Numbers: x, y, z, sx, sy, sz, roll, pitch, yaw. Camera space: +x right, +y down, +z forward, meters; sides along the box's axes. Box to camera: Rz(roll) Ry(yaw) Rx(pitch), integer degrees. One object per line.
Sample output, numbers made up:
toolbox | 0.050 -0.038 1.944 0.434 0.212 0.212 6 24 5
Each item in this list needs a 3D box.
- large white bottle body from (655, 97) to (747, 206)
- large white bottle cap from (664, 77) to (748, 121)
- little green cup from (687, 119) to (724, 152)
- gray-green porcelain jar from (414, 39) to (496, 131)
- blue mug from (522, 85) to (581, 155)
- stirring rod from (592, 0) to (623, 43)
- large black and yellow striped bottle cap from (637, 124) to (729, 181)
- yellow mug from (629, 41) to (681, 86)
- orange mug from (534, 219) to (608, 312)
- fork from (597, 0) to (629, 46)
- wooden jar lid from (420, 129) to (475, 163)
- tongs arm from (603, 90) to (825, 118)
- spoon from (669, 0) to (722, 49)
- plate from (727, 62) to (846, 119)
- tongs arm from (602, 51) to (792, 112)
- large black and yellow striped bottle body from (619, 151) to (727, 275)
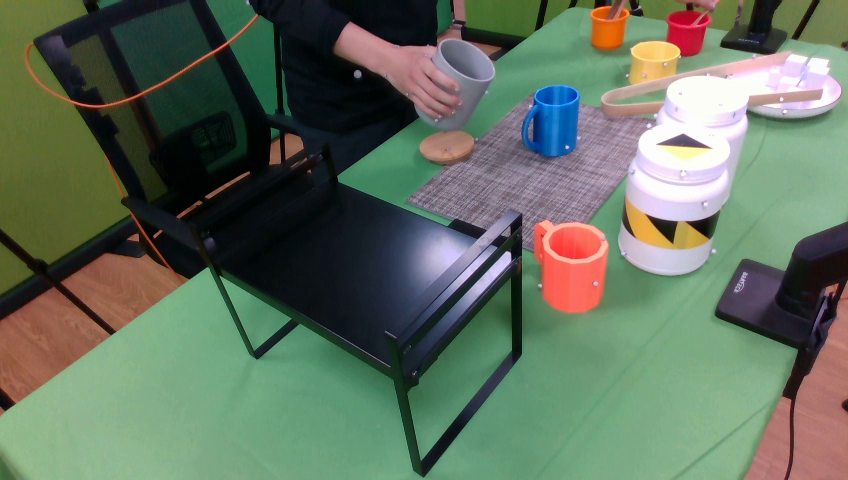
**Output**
large white bottle body | 0.430 -0.148 0.959 0.130 0.185 0.130 -4 41 4
large white bottle cap | 0.421 -0.212 0.904 0.115 0.018 0.114 -4 40 4
little green cup | 0.514 -0.191 1.109 0.061 0.039 0.061 -5 40 5
gray-green porcelain jar | 0.048 -0.261 1.041 0.106 0.126 0.105 16 48 -18
blue mug | 0.233 -0.218 1.127 0.117 0.106 0.081 -23 43 -16
stirring rod | 0.460 -0.558 1.461 0.014 0.176 0.006 35 11 22
large black and yellow striped bottle cap | 0.346 -0.119 0.810 0.115 0.019 0.114 -4 41 4
yellow mug | 0.494 -0.389 1.321 0.100 0.064 0.130 -14 40 -7
orange mug | 0.200 0.027 0.858 0.084 0.101 0.125 -24 48 -18
fork | 0.479 -0.558 1.455 0.028 0.019 0.207 35 100 37
wooden jar lid | 0.047 -0.183 1.183 0.108 0.021 0.108 -6 37 5
tongs arm | 0.546 -0.262 1.163 0.386 0.028 0.028 -1 49 18
spoon | 0.639 -0.511 1.377 0.022 0.193 0.041 17 34 -45
plate | 0.709 -0.292 1.197 0.207 0.039 0.206 -4 40 4
tongs arm | 0.552 -0.320 1.224 0.384 0.027 0.050 -10 43 7
large black and yellow striped bottle body | 0.354 -0.056 0.865 0.131 0.185 0.130 -4 41 4
